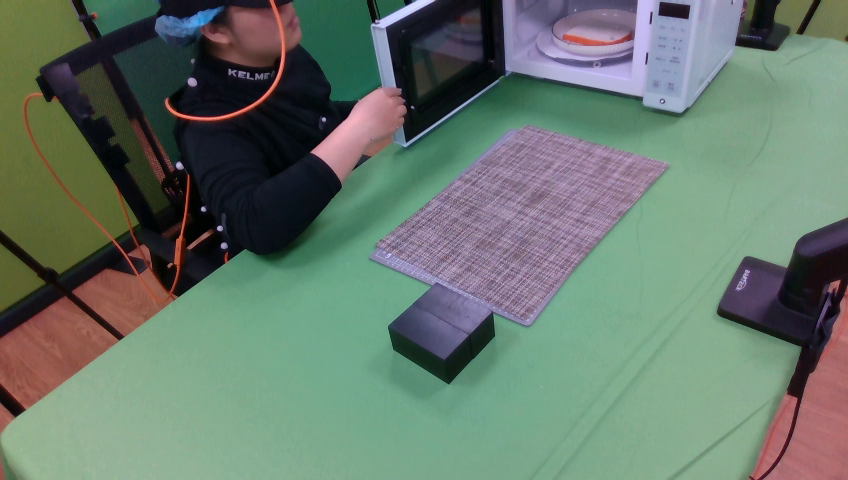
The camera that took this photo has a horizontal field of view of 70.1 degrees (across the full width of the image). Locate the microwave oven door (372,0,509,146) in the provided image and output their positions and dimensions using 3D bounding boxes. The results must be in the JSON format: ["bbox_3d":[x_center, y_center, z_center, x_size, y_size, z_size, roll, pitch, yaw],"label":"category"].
[{"bbox_3d":[0.049,-0.381,1.231,0.039,0.245,0.357,25,51,35],"label":"microwave oven door"}]

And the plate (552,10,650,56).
[{"bbox_3d":[0.390,-0.454,1.339,0.209,0.038,0.208,-5,39,5],"label":"plate"}]

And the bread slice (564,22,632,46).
[{"bbox_3d":[0.393,-0.453,1.343,0.105,0.019,0.130,-36,43,-26],"label":"bread slice"}]

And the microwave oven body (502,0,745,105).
[{"bbox_3d":[0.416,-0.486,1.290,0.438,0.261,0.327,21,50,33],"label":"microwave oven body"}]

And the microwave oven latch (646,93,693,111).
[{"bbox_3d":[0.477,-0.273,1.177,0.078,0.029,0.030,22,50,33],"label":"microwave oven latch"}]
